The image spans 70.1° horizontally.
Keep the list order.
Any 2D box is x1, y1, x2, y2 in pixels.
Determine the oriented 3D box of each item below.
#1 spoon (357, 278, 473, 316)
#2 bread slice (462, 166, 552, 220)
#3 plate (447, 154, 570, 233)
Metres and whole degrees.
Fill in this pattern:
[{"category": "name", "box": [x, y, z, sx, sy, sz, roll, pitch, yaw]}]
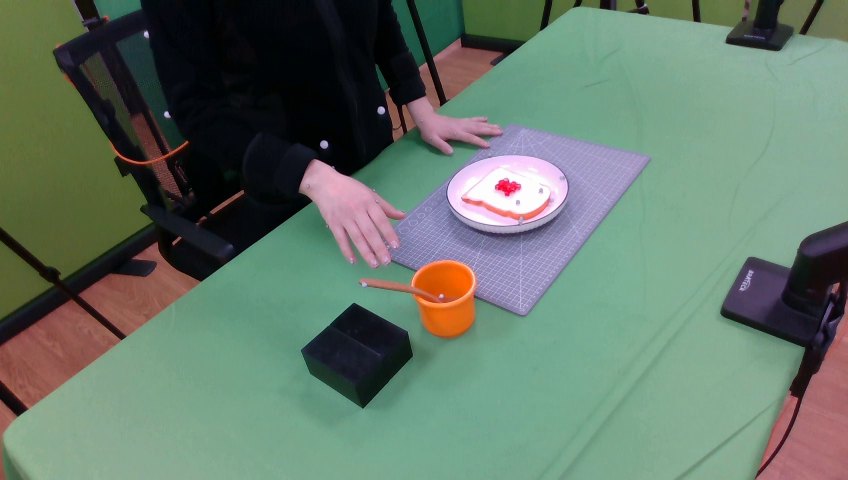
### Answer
[{"category": "spoon", "box": [-0.008, 0.072, 0.804, 0.021, 0.195, 0.041, -54, 41, 17]}, {"category": "bread slice", "box": [0.150, -0.079, 1.036, 0.133, 0.018, 0.107, 22, 50, 31]}, {"category": "plate", "box": [0.143, -0.076, 1.032, 0.209, 0.038, 0.208, -5, 40, 5]}]
